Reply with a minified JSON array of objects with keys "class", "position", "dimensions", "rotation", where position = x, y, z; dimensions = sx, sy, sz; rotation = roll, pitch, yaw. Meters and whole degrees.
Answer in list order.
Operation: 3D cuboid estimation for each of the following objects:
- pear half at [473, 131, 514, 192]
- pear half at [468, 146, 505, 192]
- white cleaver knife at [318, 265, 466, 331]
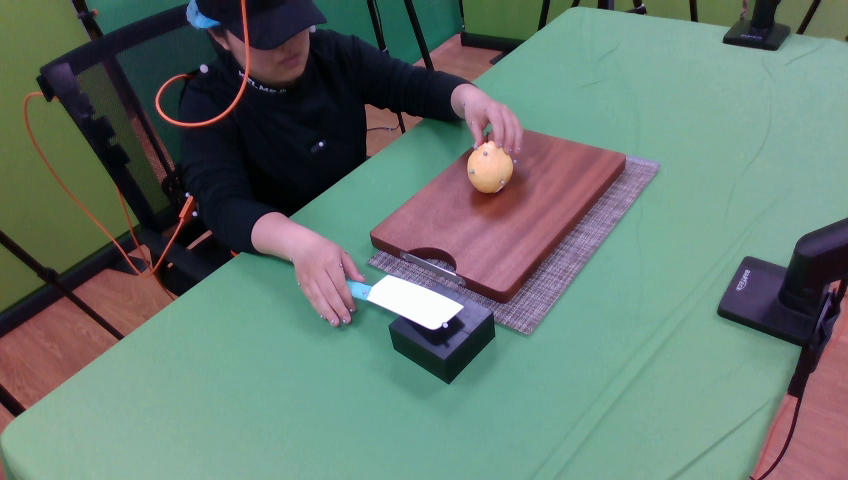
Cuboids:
[{"class":"pear half","position":[0.118,-0.141,1.019],"dimensions":[0.076,0.110,0.056],"rotation":[19,47,24]},{"class":"pear half","position":[0.099,-0.113,1.004],"dimensions":[0.070,0.088,0.031],"rotation":[21,49,21]},{"class":"white cleaver knife","position":[-0.056,0.075,0.871],"dimensions":[0.284,0.021,0.066],"rotation":[17,41,43]}]
